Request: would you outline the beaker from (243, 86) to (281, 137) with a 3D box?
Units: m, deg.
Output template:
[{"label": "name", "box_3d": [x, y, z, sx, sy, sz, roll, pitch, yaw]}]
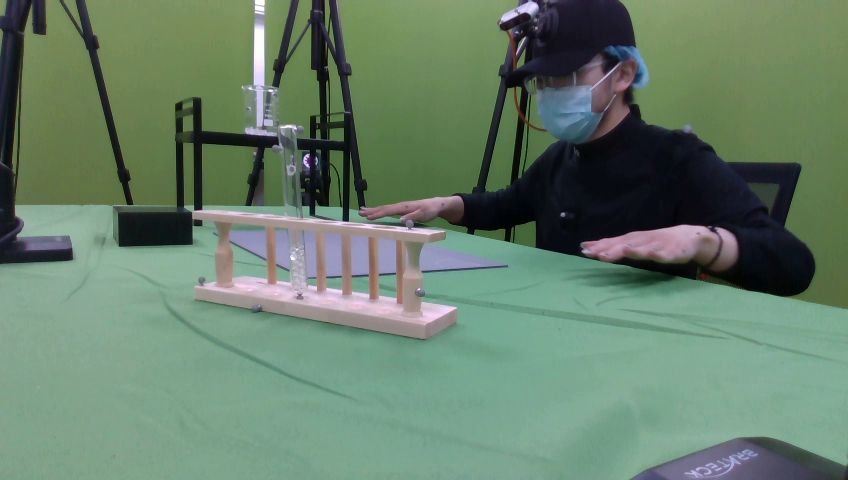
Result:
[{"label": "beaker", "box_3d": [-0.338, -0.265, 1.253, 0.073, 0.100, 0.084, 8, 9, 38]}]

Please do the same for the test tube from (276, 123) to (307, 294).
[{"label": "test tube", "box_3d": [-0.116, -0.027, 0.532, 0.017, 0.150, 0.017, -3, 7, 1]}]

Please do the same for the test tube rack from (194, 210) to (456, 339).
[{"label": "test tube rack", "box_3d": [-0.093, 0.023, 0.546, 0.241, 0.085, 0.067, 6, 8, 25]}]
